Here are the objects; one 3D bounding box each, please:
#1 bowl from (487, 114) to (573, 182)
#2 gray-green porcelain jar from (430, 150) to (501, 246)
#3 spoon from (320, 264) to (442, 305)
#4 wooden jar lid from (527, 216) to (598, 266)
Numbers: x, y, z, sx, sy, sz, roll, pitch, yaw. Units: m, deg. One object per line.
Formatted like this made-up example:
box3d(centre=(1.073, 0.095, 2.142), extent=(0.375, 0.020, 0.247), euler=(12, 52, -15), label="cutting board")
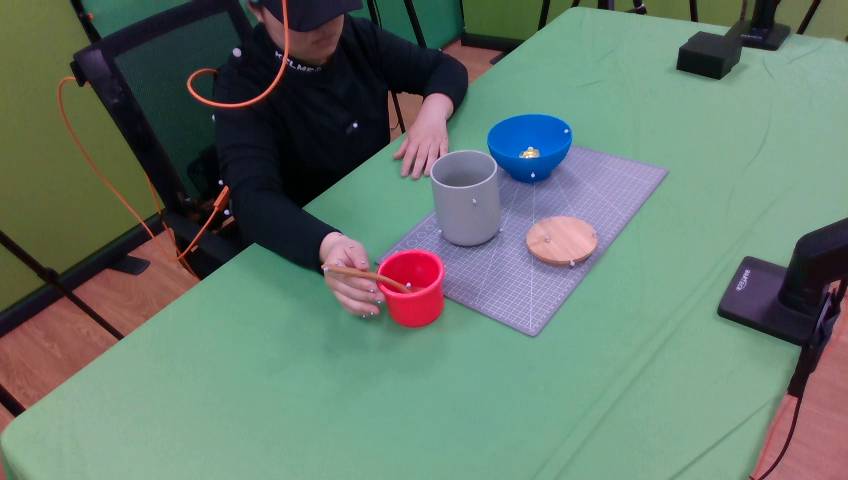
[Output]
box3d(centre=(0.190, -0.156, 1.085), extent=(0.151, 0.077, 0.150), euler=(-5, 40, 5), label="bowl")
box3d(centre=(0.069, -0.062, 0.959), extent=(0.106, 0.127, 0.105), euler=(-5, 40, 5), label="gray-green porcelain jar")
box3d(centre=(-0.055, 0.058, 0.831), extent=(0.195, 0.021, 0.041), euler=(22, 20, -34), label="spoon")
box3d(centre=(0.215, 0.003, 0.937), extent=(0.108, 0.021, 0.108), euler=(-4, 40, 4), label="wooden jar lid")
